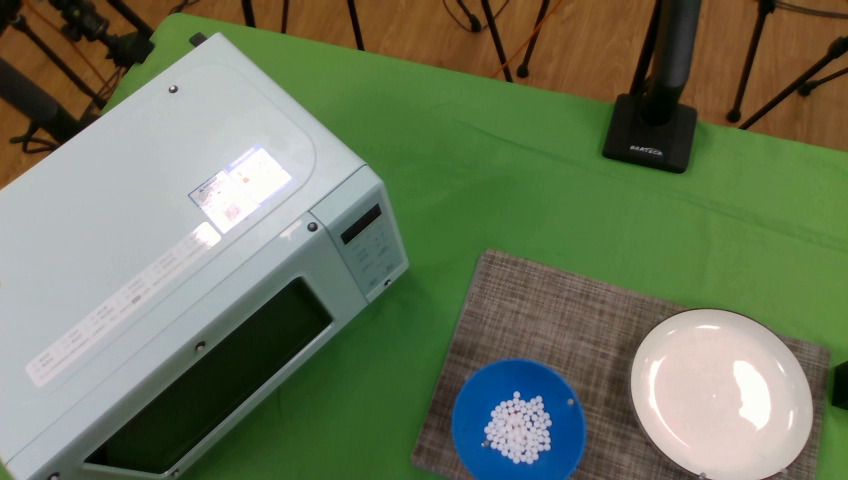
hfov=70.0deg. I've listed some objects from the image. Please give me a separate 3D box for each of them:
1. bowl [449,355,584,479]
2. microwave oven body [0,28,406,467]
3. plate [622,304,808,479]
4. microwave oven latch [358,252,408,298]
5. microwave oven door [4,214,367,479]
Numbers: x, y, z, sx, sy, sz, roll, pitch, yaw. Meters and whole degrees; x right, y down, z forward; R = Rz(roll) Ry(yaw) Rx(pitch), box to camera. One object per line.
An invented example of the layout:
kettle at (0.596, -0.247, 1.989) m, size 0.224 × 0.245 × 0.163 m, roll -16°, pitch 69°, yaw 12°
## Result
bowl at (0.106, 0.219, 0.714) m, size 0.151 × 0.077 × 0.150 m, roll -2°, pitch 65°, yaw 5°
microwave oven body at (-0.296, 0.023, 0.741) m, size 0.441 × 0.262 × 0.323 m, roll -43°, pitch 69°, yaw -12°
plate at (0.343, 0.181, 0.730) m, size 0.207 × 0.039 × 0.206 m, roll -2°, pitch 66°, yaw 5°
microwave oven latch at (-0.057, 0.040, 0.816) m, size 0.079 × 0.030 × 0.030 m, roll -41°, pitch 69°, yaw -12°
microwave oven door at (-0.227, 0.141, 0.675) m, size 0.355 × 0.246 × 0.039 m, roll -42°, pitch 68°, yaw -13°
